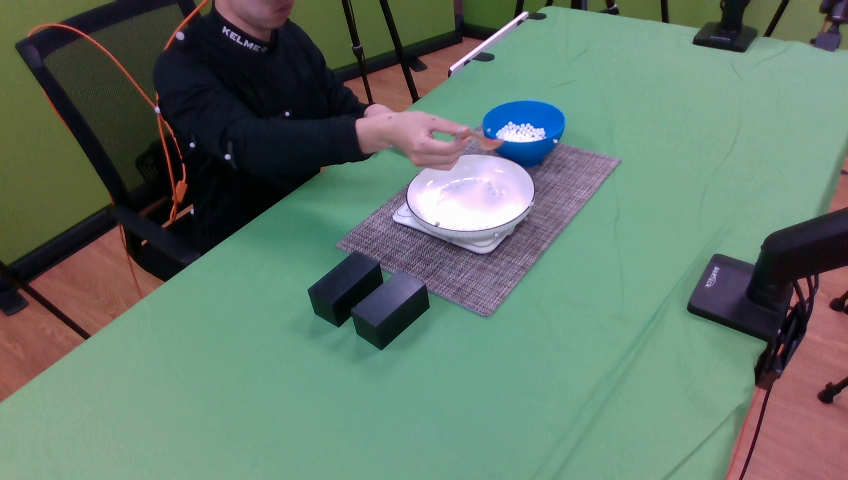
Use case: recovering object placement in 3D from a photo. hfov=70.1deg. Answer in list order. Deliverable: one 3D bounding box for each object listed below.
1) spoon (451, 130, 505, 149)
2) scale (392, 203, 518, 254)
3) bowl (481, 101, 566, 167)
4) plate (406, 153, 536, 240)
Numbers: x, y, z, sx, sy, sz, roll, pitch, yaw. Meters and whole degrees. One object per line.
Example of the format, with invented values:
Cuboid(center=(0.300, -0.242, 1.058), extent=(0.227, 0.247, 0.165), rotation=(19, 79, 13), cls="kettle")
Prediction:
Cuboid(center=(0.081, -0.159, 0.936), extent=(0.041, 0.021, 0.195), rotation=(-6, -2, 26), cls="spoon")
Cuboid(center=(0.060, -0.050, 1.006), extent=(0.199, 0.032, 0.149), rotation=(22, 48, 30), cls="scale")
Cuboid(center=(0.182, -0.186, 1.111), extent=(0.151, 0.077, 0.150), rotation=(-4, 40, 4), cls="bowl")
Cuboid(center=(0.075, -0.067, 0.973), extent=(0.209, 0.038, 0.208), rotation=(-4, 41, 4), cls="plate")
